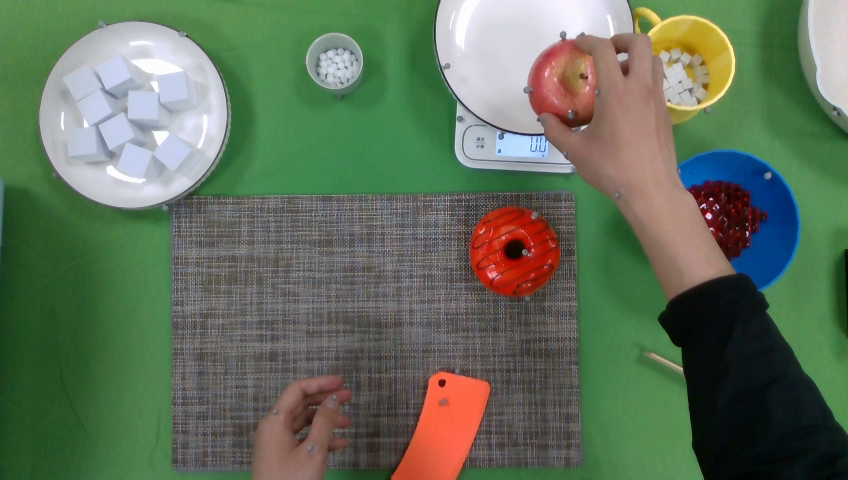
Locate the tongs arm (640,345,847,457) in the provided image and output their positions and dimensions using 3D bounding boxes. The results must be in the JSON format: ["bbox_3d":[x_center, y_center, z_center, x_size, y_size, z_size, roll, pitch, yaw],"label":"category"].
[{"bbox_3d":[0.406,0.213,0.654,0.387,0.028,0.028,29,81,1],"label":"tongs arm"}]

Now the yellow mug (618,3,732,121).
[{"bbox_3d":[0.258,-0.197,0.651,0.100,0.064,0.130,-34,87,0],"label":"yellow mug"}]

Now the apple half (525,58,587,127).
[{"bbox_3d":[0.116,-0.129,0.568,0.033,0.081,0.081,-40,87,3],"label":"apple half"}]

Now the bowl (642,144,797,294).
[{"bbox_3d":[0.297,-0.019,0.639,0.151,0.077,0.151,0,89,1],"label":"bowl"}]

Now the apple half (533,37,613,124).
[{"bbox_3d":[0.145,-0.155,0.565,0.053,0.075,0.080,-40,86,3],"label":"apple half"}]

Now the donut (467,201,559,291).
[{"bbox_3d":[0.095,0.006,0.654,0.099,0.048,0.099,0,89,3],"label":"donut"}]

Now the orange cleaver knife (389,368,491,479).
[{"bbox_3d":[0.002,0.236,0.658,0.077,0.012,0.211,28,86,-4],"label":"orange cleaver knife"}]

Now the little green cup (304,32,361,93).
[{"bbox_3d":[-0.098,-0.193,0.669,0.061,0.038,0.061,0,88,1],"label":"little green cup"}]

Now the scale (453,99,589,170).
[{"bbox_3d":[0.110,-0.182,0.670,0.149,0.031,0.200,3,88,1],"label":"scale"}]

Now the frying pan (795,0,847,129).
[{"bbox_3d":[0.583,-0.137,0.627,0.307,0.103,0.485,-28,80,1],"label":"frying pan"}]

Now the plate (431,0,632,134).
[{"bbox_3d":[0.111,-0.213,0.638,0.209,0.038,0.209,0,88,0],"label":"plate"}]

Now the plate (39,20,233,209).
[{"bbox_3d":[-0.312,-0.135,0.670,0.208,0.039,0.207,0,88,1],"label":"plate"}]
